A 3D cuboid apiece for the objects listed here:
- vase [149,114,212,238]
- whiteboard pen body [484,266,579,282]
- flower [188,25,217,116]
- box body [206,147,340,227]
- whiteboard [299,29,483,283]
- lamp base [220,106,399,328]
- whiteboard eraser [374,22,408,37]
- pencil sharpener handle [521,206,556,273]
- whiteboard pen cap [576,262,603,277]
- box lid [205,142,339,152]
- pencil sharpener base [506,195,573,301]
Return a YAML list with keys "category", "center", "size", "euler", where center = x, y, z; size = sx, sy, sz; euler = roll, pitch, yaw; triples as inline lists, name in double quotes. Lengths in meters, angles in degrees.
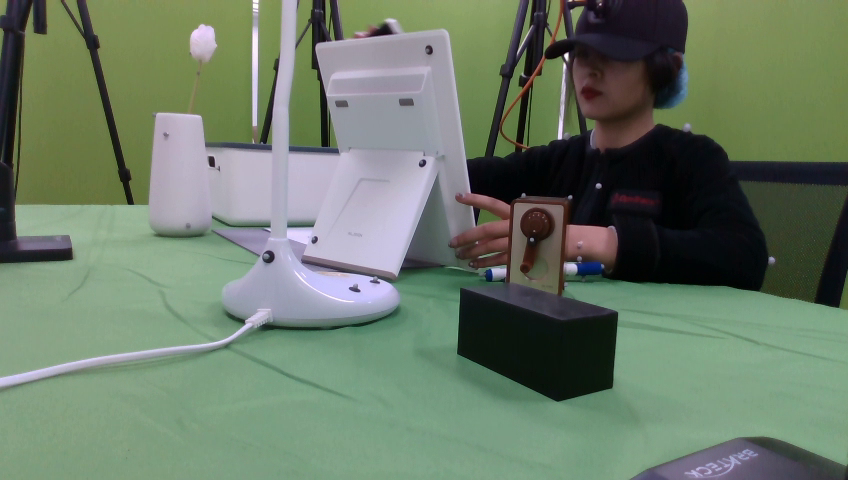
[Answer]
- category: "vase"
  center: [-0.405, -0.106, 1.005]
  size: [0.098, 0.200, 0.098]
  euler: [2, 6, 0]
- category: "whiteboard pen body"
  center: [0.143, 0.040, 0.739]
  size: [0.141, 0.017, 0.017]
  euler: [-2, 8, -11]
- category: "flower"
  center: [-0.394, -0.189, 1.011]
  size: [0.044, 0.361, 0.038]
  euler: [-1, -13, 27]
- category: "box body"
  center: [-0.276, -0.122, 1.320]
  size: [0.366, 0.160, 0.253]
  euler: [-2, 9, -30]
- category: "whiteboard"
  center: [-0.074, -0.082, 0.742]
  size: [0.216, 0.305, 0.144]
  euler: [9, 29, 38]
- category: "lamp base"
  center: [-0.102, -0.023, 0.531]
  size: [0.160, 0.180, 0.179]
  euler: [4, 10, 10]
- category: "whiteboard eraser"
  center: [-0.064, -0.241, 0.810]
  size: [0.112, 0.056, 0.042]
  euler: [-20, 23, 35]
- category: "pencil sharpener handle"
  center: [0.111, 0.000, 0.613]
  size: [0.036, 0.067, 0.031]
  euler: [13, 10, 14]
- category: "whiteboard pen cap"
  center: [0.203, 0.036, 0.748]
  size: [0.033, 0.018, 0.018]
  euler: [-3, 8, -7]
- category: "box lid"
  center: [-0.270, -0.196, 1.310]
  size: [0.373, 0.015, 0.262]
  euler: [-2, 9, -30]
- category: "pencil sharpener base"
  center: [0.127, 0.007, 0.663]
  size: [0.061, 0.107, 0.077]
  euler: [5, 8, 15]
